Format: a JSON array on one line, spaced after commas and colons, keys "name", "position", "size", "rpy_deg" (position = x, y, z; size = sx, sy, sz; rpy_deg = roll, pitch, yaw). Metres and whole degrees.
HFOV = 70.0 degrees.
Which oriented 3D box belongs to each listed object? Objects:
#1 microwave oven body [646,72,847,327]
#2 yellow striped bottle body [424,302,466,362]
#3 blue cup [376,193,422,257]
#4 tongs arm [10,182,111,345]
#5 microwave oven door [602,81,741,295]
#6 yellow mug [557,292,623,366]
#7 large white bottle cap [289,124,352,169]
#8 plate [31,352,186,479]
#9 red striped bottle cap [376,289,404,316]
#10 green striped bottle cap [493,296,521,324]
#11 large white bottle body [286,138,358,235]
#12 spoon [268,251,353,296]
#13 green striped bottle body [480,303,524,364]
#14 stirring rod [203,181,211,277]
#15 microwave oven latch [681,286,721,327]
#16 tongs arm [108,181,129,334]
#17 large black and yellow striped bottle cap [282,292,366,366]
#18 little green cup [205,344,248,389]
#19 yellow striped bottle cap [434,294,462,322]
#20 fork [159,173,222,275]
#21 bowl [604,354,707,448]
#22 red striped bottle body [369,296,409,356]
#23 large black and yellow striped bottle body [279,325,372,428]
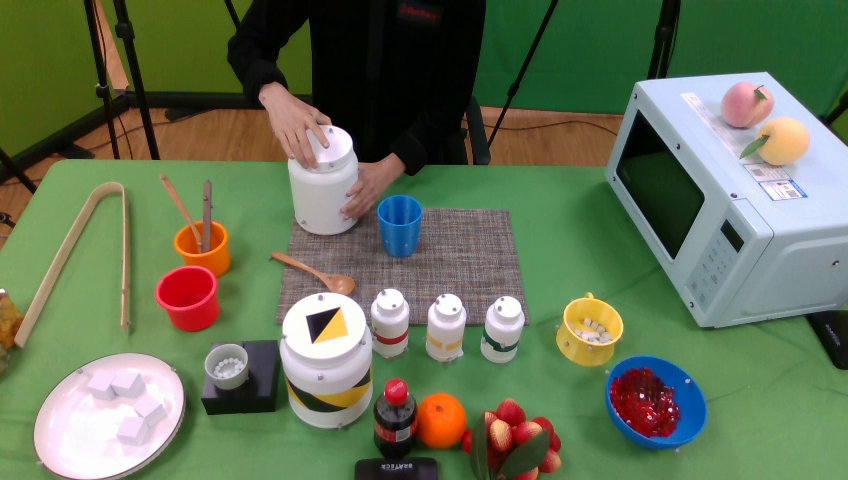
[{"name": "microwave oven body", "position": [0.607, -0.089, 1.164], "size": [0.326, 0.261, 0.438], "rpy_deg": [-7, 46, -10]}, {"name": "yellow striped bottle body", "position": [0.035, 0.143, 0.995], "size": [0.063, 0.121, 0.062], "rpy_deg": [3, 46, -3]}, {"name": "blue cup", "position": [-0.047, -0.021, 1.155], "size": [0.093, 0.101, 0.092], "rpy_deg": [1, 46, -1]}, {"name": "tongs arm", "position": [-0.658, 0.027, 1.109], "size": [0.028, 0.028, 0.385], "rpy_deg": [-2, 45, 2]}, {"name": "microwave oven door", "position": [0.456, -0.107, 1.162], "size": [0.039, 0.245, 0.353], "rpy_deg": [-7, 47, -11]}, {"name": "yellow mug", "position": [0.285, 0.145, 1.051], "size": [0.100, 0.064, 0.130], "rpy_deg": [7, 46, 4]}, {"name": "large white bottle cap", "position": [-0.190, -0.173, 1.112], "size": [0.115, 0.018, 0.114], "rpy_deg": [3, 47, -3]}, {"name": "plate", "position": [-0.459, 0.262, 0.898], "size": [0.209, 0.038, 0.208], "rpy_deg": [2, 46, -2]}, {"name": "red striped bottle cap", "position": [-0.055, 0.098, 0.958], "size": [0.044, 0.018, 0.044], "rpy_deg": [0, 48, 0]}, {"name": "green striped bottle cap", "position": [0.133, 0.111, 0.962], "size": [0.044, 0.020, 0.044], "rpy_deg": [2, 47, -2]}, {"name": "large white bottle body", "position": [-0.196, -0.114, 1.173], "size": [0.131, 0.185, 0.130], "rpy_deg": [3, 47, -3]}, {"name": "spoon", "position": [-0.212, 0.057, 1.121], "size": [0.193, 0.022, 0.041], "rpy_deg": [24, 74, 18]}, {"name": "green striped bottle body", "position": [0.129, 0.147, 1.000], "size": [0.063, 0.120, 0.063], "rpy_deg": [2, 46, -2]}, {"name": "stirring rod", "position": [-0.396, -0.021, 1.107], "size": [0.014, 0.006, 0.176], "rpy_deg": [-1, 89, -2]}, {"name": "microwave oven latch", "position": [0.494, 0.119, 1.086], "size": [0.030, 0.029, 0.078], "rpy_deg": [-5, 46, -9]}, {"name": "tongs arm", "position": [-0.571, 0.019, 1.123], "size": [0.051, 0.026, 0.382], "rpy_deg": [-11, 47, -12]}, {"name": "large black and yellow striped bottle cap", "position": [-0.138, 0.121, 0.841], "size": [0.115, 0.019, 0.114], "rpy_deg": [3, 47, -3]}, {"name": "little green cup", "position": [-0.293, 0.191, 0.909], "size": [0.061, 0.039, 0.061], "rpy_deg": [1, 47, -1]}, {"name": "yellow striped bottle cap", "position": [0.038, 0.107, 0.958], "size": [0.044, 0.019, 0.044], "rpy_deg": [2, 45, -2]}, {"name": "fork", "position": [-0.427, -0.029, 1.103], "size": [0.028, 0.018, 0.207], "rpy_deg": [-31, 99, -30]}, {"name": "bowl", "position": [0.346, 0.261, 0.937], "size": [0.151, 0.077, 0.150], "rpy_deg": [2, 46, -2]}, {"name": "red striped bottle body", "position": [-0.059, 0.134, 0.997], "size": [0.063, 0.120, 0.062], "rpy_deg": [5, 48, -5]}, {"name": "large black and yellow striped bottle body", "position": [-0.143, 0.181, 0.900], "size": [0.131, 0.185, 0.130], "rpy_deg": [2, 46, -2]}]
